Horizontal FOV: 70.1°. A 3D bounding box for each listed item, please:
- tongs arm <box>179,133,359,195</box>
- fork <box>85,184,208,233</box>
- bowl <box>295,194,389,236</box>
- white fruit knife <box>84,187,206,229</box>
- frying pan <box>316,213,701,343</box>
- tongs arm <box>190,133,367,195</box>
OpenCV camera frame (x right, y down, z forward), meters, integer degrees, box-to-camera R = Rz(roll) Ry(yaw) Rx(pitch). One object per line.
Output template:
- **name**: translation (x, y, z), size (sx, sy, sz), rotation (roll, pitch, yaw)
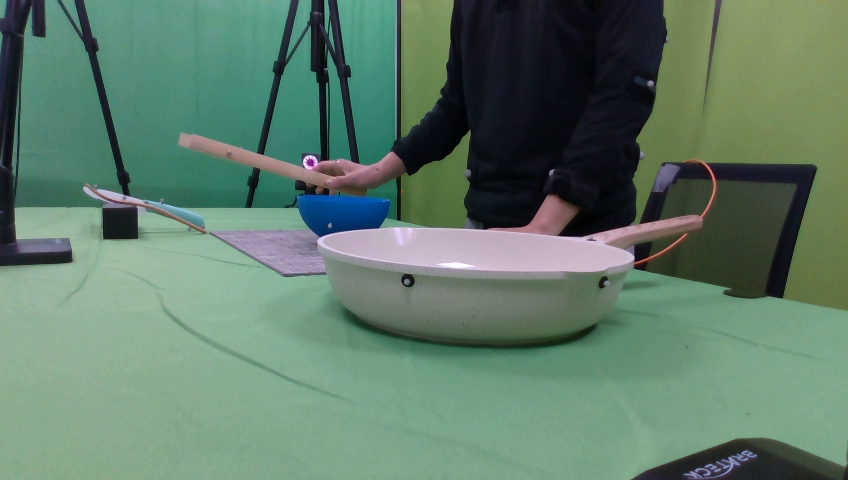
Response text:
- **tongs arm**: translation (-0.303, -0.152, 1.254), size (0.387, 0.026, 0.050), rotation (15, -1, -30)
- **fork**: translation (-0.462, -0.051, 1.019), size (0.208, 0.018, 0.028), rotation (22, -11, -37)
- **bowl**: translation (-0.132, -0.032, 0.980), size (0.151, 0.077, 0.151), rotation (2, 7, 0)
- **white fruit knife**: translation (-0.488, -0.059, 1.071), size (0.208, 0.027, 0.016), rotation (17, 4, -33)
- **frying pan**: translation (0.133, 0.013, 0.629), size (0.490, 0.102, 0.305), rotation (-12, 14, -30)
- **tongs arm**: translation (-0.268, -0.142, 1.196), size (0.390, 0.027, 0.028), rotation (14, -4, -39)
